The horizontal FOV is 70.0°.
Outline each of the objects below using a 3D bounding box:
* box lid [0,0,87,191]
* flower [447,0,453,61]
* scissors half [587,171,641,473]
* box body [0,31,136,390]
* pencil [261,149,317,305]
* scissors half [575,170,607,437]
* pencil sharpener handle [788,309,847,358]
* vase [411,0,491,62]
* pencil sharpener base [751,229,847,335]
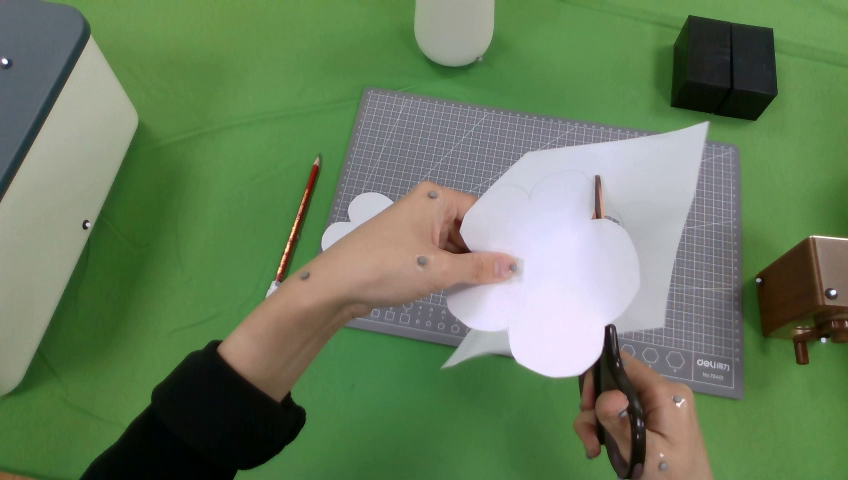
[{"bbox_3d":[-0.478,-0.085,0.520,0.263,0.015,0.369,10,66,3],"label":"box lid"},{"bbox_3d":[0.027,-0.343,0.610,0.044,0.365,0.038,3,48,5],"label":"flower"},{"bbox_3d":[0.106,0.047,0.348,0.013,0.040,0.175,-6,87,-8],"label":"scissors half"},{"bbox_3d":[-0.479,-0.052,0.589,0.254,0.161,0.361,10,67,4],"label":"box body"},{"bbox_3d":[-0.144,-0.020,0.663,0.012,0.012,0.193,11,66,5],"label":"pencil"},{"bbox_3d":[0.104,0.043,0.369,0.013,0.176,0.039,-5,23,-3],"label":"scissors half"},{"bbox_3d":[0.365,0.088,0.555,0.036,0.068,0.030,11,66,-12],"label":"pencil sharpener handle"},{"bbox_3d":[0.032,-0.297,0.681,0.098,0.201,0.097,0,65,1],"label":"vase"},{"bbox_3d":[0.374,0.047,0.587,0.061,0.108,0.076,6,67,2],"label":"pencil sharpener base"}]
